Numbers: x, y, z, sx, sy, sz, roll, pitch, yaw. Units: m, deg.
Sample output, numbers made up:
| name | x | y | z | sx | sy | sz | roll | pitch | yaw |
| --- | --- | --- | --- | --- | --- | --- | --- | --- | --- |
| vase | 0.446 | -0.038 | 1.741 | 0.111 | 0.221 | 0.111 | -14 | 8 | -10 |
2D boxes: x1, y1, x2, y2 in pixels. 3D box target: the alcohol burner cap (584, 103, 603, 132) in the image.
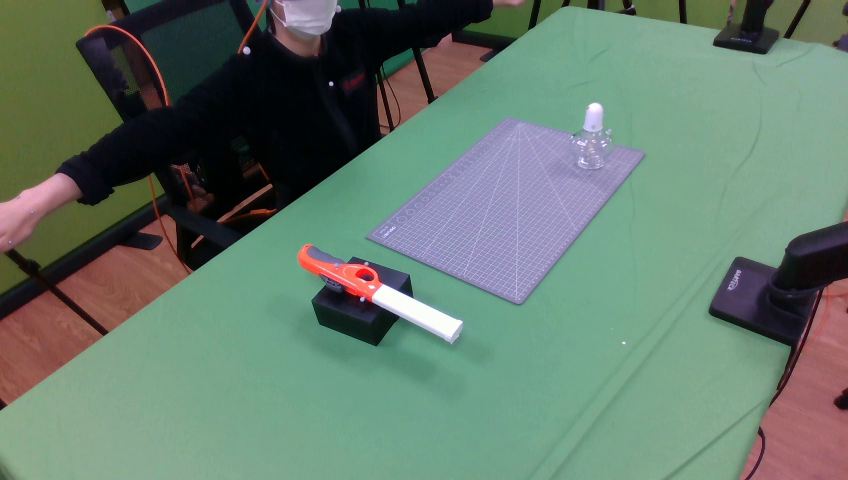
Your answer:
| name | x | y | z | sx | sy | sz | roll | pitch | yaw |
| --- | --- | --- | --- | --- | --- | --- | --- | --- | --- |
| alcohol burner cap | 0.295 | -0.213 | 1.047 | 0.034 | 0.048 | 0.033 | -4 | 38 | 4 |

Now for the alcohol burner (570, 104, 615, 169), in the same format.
| name | x | y | z | sx | sy | sz | roll | pitch | yaw |
| --- | --- | --- | --- | --- | --- | --- | --- | --- | --- |
| alcohol burner | 0.299 | -0.187 | 1.071 | 0.078 | 0.119 | 0.077 | -6 | 41 | 6 |

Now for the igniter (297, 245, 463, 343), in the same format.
| name | x | y | z | sx | sy | sz | roll | pitch | yaw |
| --- | --- | --- | --- | --- | --- | --- | --- | --- | --- |
| igniter | -0.070 | 0.068 | 0.827 | 0.274 | 0.025 | 0.057 | 23 | 49 | 25 |
